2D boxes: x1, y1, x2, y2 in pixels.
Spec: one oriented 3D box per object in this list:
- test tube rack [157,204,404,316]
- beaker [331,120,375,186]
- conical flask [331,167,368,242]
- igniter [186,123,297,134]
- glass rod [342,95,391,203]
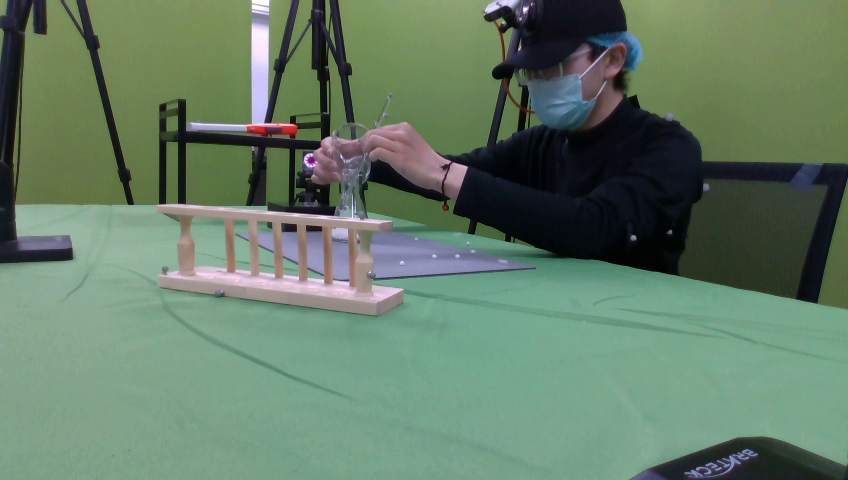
[{"bbox_3d":[-0.143,0.013,0.599,0.242,0.085,0.067,5,8,19],"label":"test tube rack"},{"bbox_3d":[-0.128,-0.147,1.066,0.074,0.084,0.100,14,-30,-2],"label":"beaker"},{"bbox_3d":[-0.123,-0.061,1.019,0.075,0.122,0.075,3,8,0],"label":"conical flask"},{"bbox_3d":[-0.392,-0.248,1.341,0.057,0.025,0.278,9,14,38],"label":"igniter"},{"bbox_3d":[-0.096,-0.147,0.998,0.008,0.199,0.008,23,21,-9],"label":"glass rod"}]
